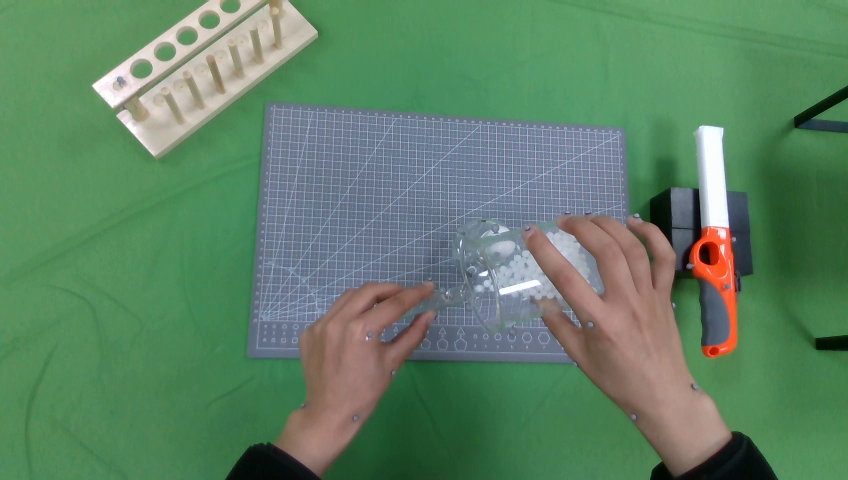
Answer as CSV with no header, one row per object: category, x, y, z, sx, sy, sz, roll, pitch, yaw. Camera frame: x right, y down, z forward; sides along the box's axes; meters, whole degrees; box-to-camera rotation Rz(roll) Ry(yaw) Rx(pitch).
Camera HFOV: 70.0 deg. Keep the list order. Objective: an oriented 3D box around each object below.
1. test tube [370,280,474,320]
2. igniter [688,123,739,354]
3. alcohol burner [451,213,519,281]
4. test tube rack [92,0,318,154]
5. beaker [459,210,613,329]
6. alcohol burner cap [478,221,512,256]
test tube,-0.007,0.057,0.552,0.017,0.150,0.017,11,70,-34
igniter,0.335,-0.006,0.705,0.057,0.025,0.275,6,76,-5
alcohol burner,0.071,0.004,0.665,0.078,0.119,0.077,2,76,-9
test tube rack,-0.233,-0.208,0.679,0.242,0.085,0.066,-43,86,-14
beaker,0.085,0.021,0.469,0.100,0.084,0.073,-14,81,-13
alcohol burner cap,0.076,-0.003,0.630,0.034,0.048,0.033,1,80,-3
